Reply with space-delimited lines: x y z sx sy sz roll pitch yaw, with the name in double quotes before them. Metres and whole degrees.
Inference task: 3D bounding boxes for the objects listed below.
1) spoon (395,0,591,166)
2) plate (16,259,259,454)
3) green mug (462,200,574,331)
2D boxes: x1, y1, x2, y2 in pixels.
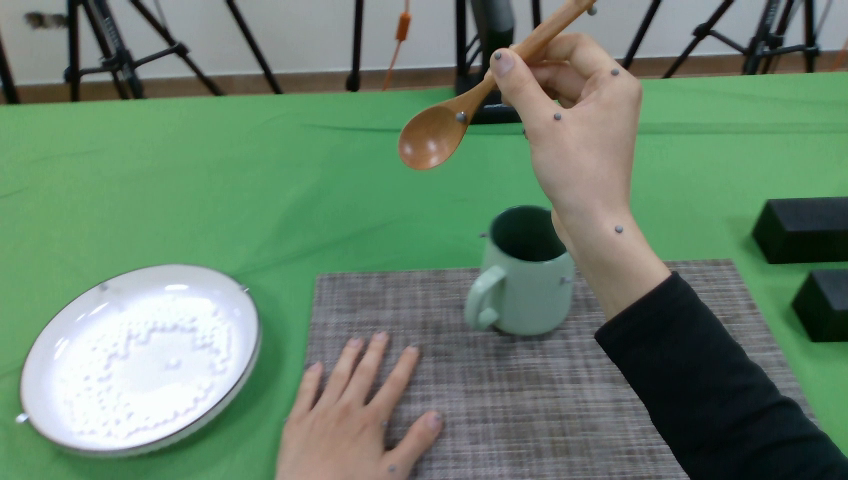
"spoon" 0.051 -0.116 0.411 0.041 0.194 0.021 54 31 2
"plate" -0.256 0.104 0.562 0.209 0.038 0.207 0 45 1
"green mug" 0.083 0.034 0.571 0.125 0.106 0.091 -35 54 -29
